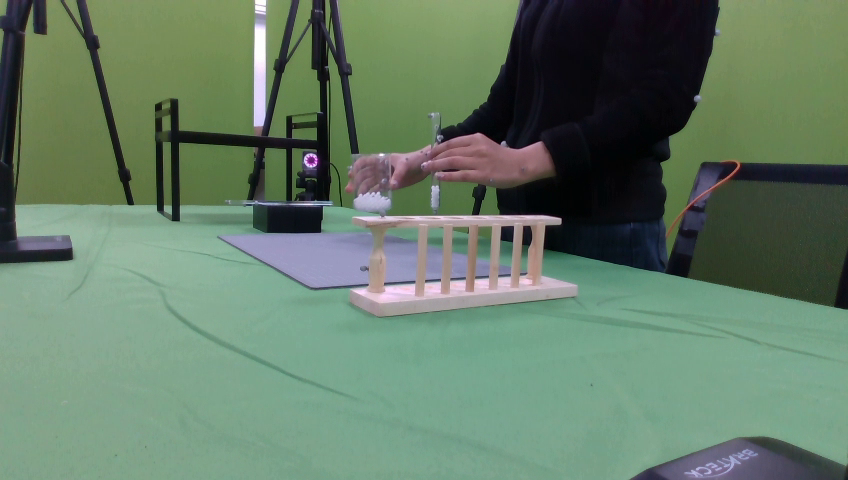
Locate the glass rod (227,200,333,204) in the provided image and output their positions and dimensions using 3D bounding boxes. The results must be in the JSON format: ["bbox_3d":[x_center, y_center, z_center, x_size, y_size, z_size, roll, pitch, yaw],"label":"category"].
[{"bbox_3d":[-0.268,-0.071,1.143,0.201,0.008,0.008,-1,8,-29],"label":"glass rod"}]

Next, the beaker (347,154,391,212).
[{"bbox_3d":[-0.093,-0.101,1.063,0.074,0.100,0.083,-7,10,-29],"label":"beaker"}]

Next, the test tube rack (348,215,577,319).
[{"bbox_3d":[0.048,0.021,0.619,0.244,0.085,0.066,-2,9,-31],"label":"test tube rack"}]

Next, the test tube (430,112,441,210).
[{"bbox_3d":[0.018,-0.122,0.935,0.017,0.150,0.017,1,4,0],"label":"test tube"}]
